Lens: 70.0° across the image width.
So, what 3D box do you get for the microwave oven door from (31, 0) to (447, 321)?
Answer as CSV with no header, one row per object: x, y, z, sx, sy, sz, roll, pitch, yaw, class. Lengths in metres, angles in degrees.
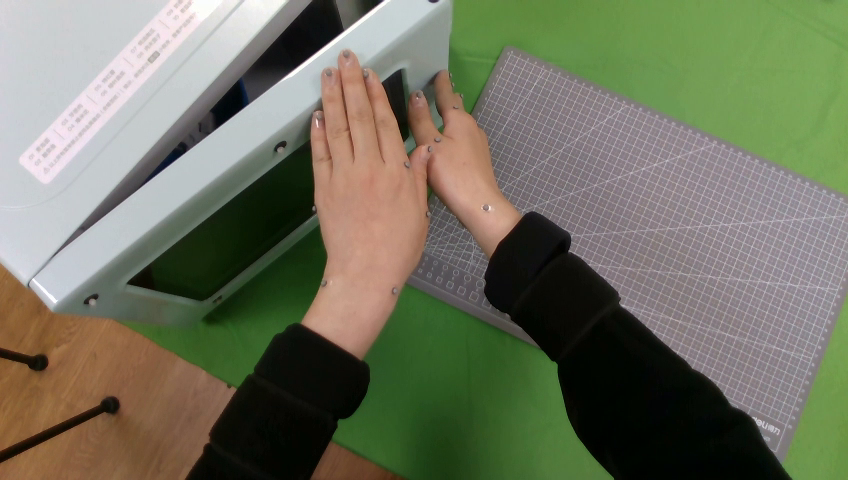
-0.125,-0.058,0.540,0.356,0.244,0.039,-40,82,-6,microwave oven door

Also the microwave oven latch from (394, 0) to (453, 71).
-0.001,-0.227,0.669,0.030,0.029,0.079,42,84,6,microwave oven latch

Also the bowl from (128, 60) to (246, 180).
-0.238,-0.121,0.588,0.151,0.077,0.150,0,77,2,bowl

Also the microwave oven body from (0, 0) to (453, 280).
-0.230,-0.203,0.570,0.325,0.261,0.441,40,84,6,microwave oven body
